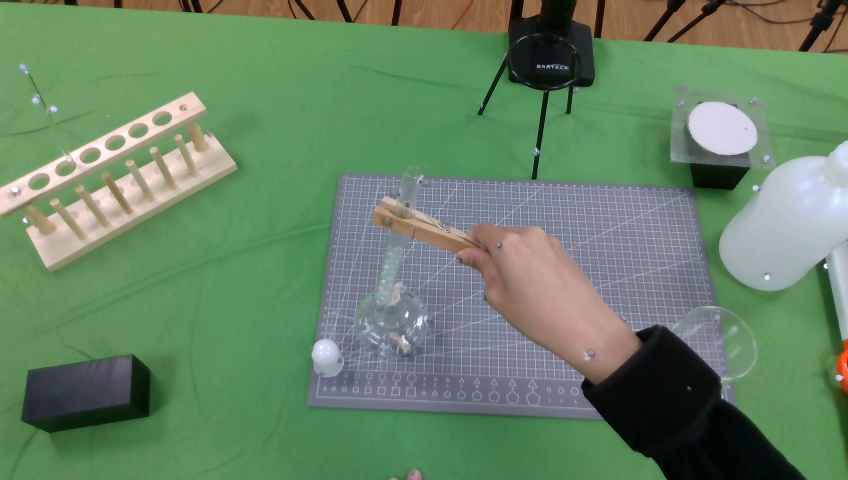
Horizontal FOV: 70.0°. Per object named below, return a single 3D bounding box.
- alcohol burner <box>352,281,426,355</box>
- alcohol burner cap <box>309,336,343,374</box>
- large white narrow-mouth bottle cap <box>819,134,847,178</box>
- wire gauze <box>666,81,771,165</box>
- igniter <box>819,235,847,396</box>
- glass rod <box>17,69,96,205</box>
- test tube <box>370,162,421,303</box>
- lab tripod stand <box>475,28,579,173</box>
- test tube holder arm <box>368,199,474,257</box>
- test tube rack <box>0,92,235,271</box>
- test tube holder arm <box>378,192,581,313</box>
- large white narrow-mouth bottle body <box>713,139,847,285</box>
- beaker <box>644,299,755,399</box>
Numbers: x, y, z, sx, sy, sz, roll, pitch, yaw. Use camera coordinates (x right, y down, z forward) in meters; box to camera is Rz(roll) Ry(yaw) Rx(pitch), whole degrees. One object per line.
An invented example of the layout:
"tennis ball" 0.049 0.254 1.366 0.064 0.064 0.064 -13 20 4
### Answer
"alcohol burner" -0.035 0.073 0.618 0.078 0.120 0.077 2 59 -2
"alcohol burner cap" -0.103 0.119 0.632 0.034 0.048 0.033 0 62 1
"large white narrow-mouth bottle cap" 0.395 -0.079 0.570 0.038 0.024 0.037 1 60 -1
"wire gauze" 0.364 -0.146 0.757 0.121 0.011 0.124 9 61 4
"igniter" 0.468 0.113 0.659 0.057 0.025 0.274 12 61 -6
"glass rod" -0.389 -0.099 0.650 0.008 0.201 0.008 3 52 -3
"test tube" -0.026 -0.001 0.501 0.017 0.151 0.017 10 41 -8
"lab tripod stand" 0.136 -0.179 0.755 0.148 0.132 0.147 1 62 -2
"test tube holder arm" -0.002 -0.009 0.476 0.087 0.015 0.010 22 34 6
"test tube rack" -0.355 -0.071 0.710 0.242 0.086 0.066 -34 67 -18
"test tube holder arm" 0.039 0.008 0.472 0.177 0.015 0.013 28 36 14
"large white narrow-mouth bottle body" 0.394 -0.035 0.644 0.102 0.196 0.101 0 60 0
"beaker" 0.268 0.114 0.610 0.084 0.101 0.073 7 60 4
